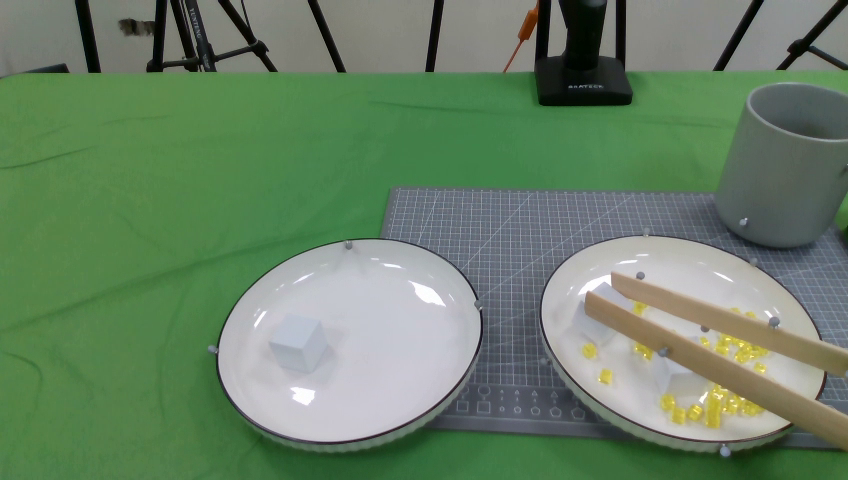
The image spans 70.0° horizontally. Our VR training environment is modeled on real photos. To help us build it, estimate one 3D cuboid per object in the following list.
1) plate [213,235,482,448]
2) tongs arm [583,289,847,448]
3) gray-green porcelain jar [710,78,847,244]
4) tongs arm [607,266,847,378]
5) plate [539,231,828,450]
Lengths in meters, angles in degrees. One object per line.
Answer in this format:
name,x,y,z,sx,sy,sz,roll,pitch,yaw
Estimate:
plate,-0.058,0.077,0.487,0.209,0.038,0.207,-3,41,3
tongs arm,0.259,0.109,0.342,0.384,0.028,0.028,25,46,39
gray-green porcelain jar,0.332,-0.068,0.561,0.106,0.127,0.105,-2,41,2
tongs arm,0.275,0.096,0.353,0.381,0.027,0.050,21,47,36
plate,0.194,0.074,0.476,0.207,0.039,0.205,-1,41,2
